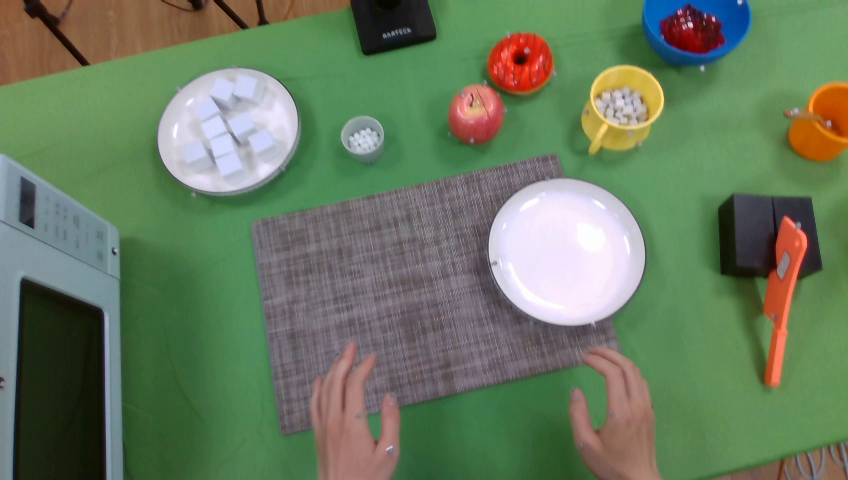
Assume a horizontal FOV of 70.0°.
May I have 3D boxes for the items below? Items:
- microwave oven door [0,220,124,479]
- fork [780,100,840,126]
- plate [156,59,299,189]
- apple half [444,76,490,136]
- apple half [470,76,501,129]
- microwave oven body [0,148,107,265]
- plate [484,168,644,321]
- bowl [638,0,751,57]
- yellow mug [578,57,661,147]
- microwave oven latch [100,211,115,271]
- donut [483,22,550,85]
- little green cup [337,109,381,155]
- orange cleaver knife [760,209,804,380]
[{"bbox_3d":[-0.410,0.177,0.665,0.039,0.245,0.353,-11,72,0],"label":"microwave oven door"},{"bbox_3d":[0.506,-0.168,0.792,0.208,0.018,0.028,-3,67,-44],"label":"fork"},{"bbox_3d":[-0.285,-0.168,0.891,0.207,0.039,0.206,-1,73,3],"label":"plate"},{"bbox_3d":[0.056,-0.183,0.861,0.053,0.075,0.080,-22,76,1],"label":"apple half"},{"bbox_3d":[0.093,-0.198,0.862,0.033,0.082,0.080,-23,72,1],"label":"apple half"},{"bbox_3d":[-0.561,0.165,0.681,0.326,0.261,0.438,-10,73,-1],"label":"microwave oven body"},{"bbox_3d":[0.184,0.007,0.809,0.209,0.038,0.208,-1,73,3],"label":"plate"},{"bbox_3d":[0.380,-0.323,0.884,0.151,0.077,0.150,-1,73,3],"label":"bowl"},{"bbox_3d":[0.265,-0.185,0.853,0.099,0.064,0.130,33,78,12],"label":"yellow mug"},{"bbox_3d":[-0.440,0.003,0.827,0.030,0.029,0.078,-8,73,0],"label":"microwave oven latch"},{"bbox_3d":[0.137,-0.276,0.900,0.099,0.048,0.098,-1,75,4],"label":"donut"},{"bbox_3d":[-0.091,-0.154,0.877,0.061,0.039,0.061,-1,72,3],"label":"little green cup"},{"bbox_3d":[0.440,0.068,0.758,0.012,0.077,0.212,5,103,8],"label":"orange cleaver knife"}]
